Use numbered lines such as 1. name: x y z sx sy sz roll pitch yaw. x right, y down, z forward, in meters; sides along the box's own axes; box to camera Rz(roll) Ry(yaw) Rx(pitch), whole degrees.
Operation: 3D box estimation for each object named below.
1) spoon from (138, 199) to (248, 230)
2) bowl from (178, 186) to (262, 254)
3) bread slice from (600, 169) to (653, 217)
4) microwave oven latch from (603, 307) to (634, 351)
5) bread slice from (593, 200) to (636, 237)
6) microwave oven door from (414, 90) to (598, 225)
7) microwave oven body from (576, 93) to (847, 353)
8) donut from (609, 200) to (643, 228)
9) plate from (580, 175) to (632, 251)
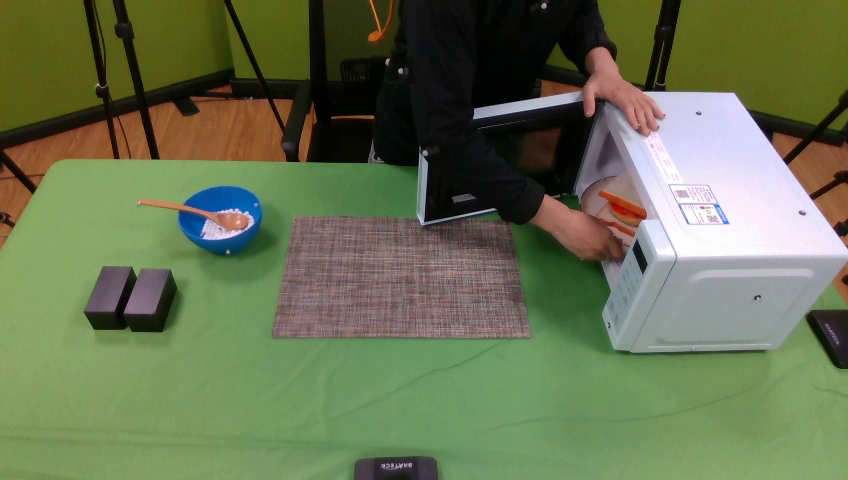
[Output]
1. spoon: -0.431 -0.053 1.135 0.194 0.022 0.041 15 48 -20
2. bowl: -0.383 -0.026 1.157 0.151 0.077 0.150 2 46 -2
3. bread slice: 0.410 -0.083 1.126 0.131 0.019 0.105 33 50 28
4. microwave oven latch: 0.332 0.153 1.044 0.030 0.029 0.078 0 45 -3
5. bread slice: 0.410 -0.047 1.164 0.134 0.018 0.107 24 58 25
6. microwave oven door: 0.158 -0.161 1.195 0.356 0.245 0.039 -12 48 -16
7. microwave oven body: 0.476 -0.041 1.109 0.326 0.261 0.438 -1 45 -4
8. donut: 0.400 -0.062 1.148 0.099 0.048 0.098 -3 43 3
9. plate: 0.405 -0.047 1.170 0.208 0.039 0.206 -1 46 1
